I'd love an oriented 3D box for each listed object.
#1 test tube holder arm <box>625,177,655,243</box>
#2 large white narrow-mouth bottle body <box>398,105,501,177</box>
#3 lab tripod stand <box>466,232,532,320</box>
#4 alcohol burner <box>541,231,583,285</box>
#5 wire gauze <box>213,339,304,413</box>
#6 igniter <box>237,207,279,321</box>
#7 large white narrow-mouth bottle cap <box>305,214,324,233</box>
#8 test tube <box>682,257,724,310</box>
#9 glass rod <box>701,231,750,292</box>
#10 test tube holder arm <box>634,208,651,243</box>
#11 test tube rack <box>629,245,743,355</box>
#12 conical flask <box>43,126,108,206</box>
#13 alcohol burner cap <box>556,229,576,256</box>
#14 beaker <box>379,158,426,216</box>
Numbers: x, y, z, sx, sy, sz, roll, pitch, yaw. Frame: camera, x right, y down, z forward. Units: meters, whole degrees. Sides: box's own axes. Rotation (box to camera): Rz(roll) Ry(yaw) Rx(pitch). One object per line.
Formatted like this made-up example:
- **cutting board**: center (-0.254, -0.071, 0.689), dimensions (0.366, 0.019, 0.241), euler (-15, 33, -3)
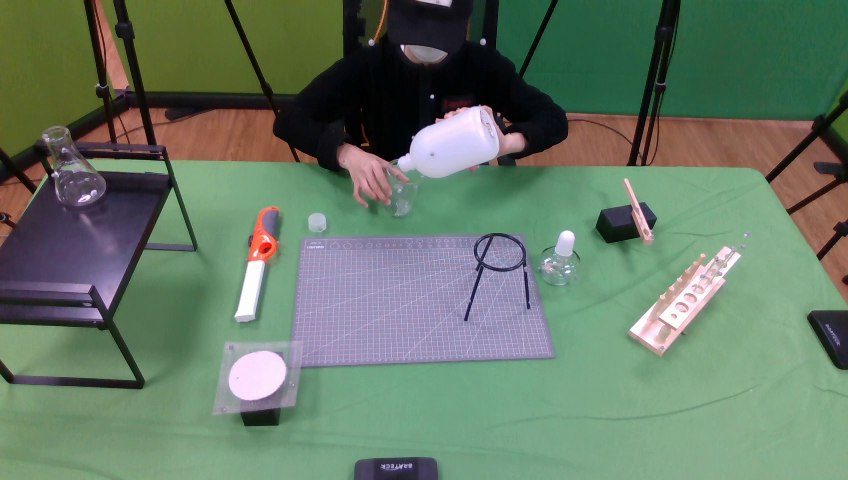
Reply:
- **test tube holder arm**: center (0.433, -0.063, 1.220), dimensions (0.013, 0.015, 0.177), euler (1, 47, -3)
- **large white narrow-mouth bottle body**: center (0.039, -0.175, 1.146), dimensions (0.194, 0.102, 0.101), euler (-18, 39, 26)
- **lab tripod stand**: center (0.125, 0.059, 1.065), dimensions (0.148, 0.132, 0.147), euler (1, 45, 0)
- **alcohol burner**: center (0.258, 0.028, 1.123), dimensions (0.078, 0.120, 0.077), euler (1, 48, -1)
- **wire gauze**: center (-0.250, 0.203, 0.924), dimensions (0.121, 0.011, 0.124), euler (-1, 46, -3)
- **igniter**: center (-0.309, 0.036, 1.136), dimensions (0.057, 0.025, 0.274), euler (-7, 45, 5)
- **large white narrow-mouth bottle cap**: center (-0.219, -0.033, 1.214), dimensions (0.038, 0.024, 0.037), euler (2, 46, -2)
- **test tube**: center (0.475, 0.080, 1.037), dimensions (0.017, 0.151, 0.017), euler (2, 51, -2)
- **glass rod**: center (0.519, 0.045, 1.050), dimensions (0.008, 0.201, 0.008), euler (0, 55, 0)
- **test tube holder arm**: center (0.428, -0.030, 1.189), dimensions (0.010, 0.015, 0.087), euler (1, 47, -2)
- **test tube rack**: center (0.474, 0.095, 1.091), dimensions (0.242, 0.085, 0.066), euler (-34, 56, -31)
- **conical flask**: center (-0.555, -0.119, 0.953), dimensions (0.075, 0.122, 0.075), euler (2, 46, -2)
- **alcohol burner cap**: center (0.260, 0.002, 1.098), dimensions (0.034, 0.048, 0.033), euler (3, 40, -2)
- **beaker**: center (-0.047, -0.104, 1.227), dimensions (0.084, 0.100, 0.073), euler (3, 48, -17)
